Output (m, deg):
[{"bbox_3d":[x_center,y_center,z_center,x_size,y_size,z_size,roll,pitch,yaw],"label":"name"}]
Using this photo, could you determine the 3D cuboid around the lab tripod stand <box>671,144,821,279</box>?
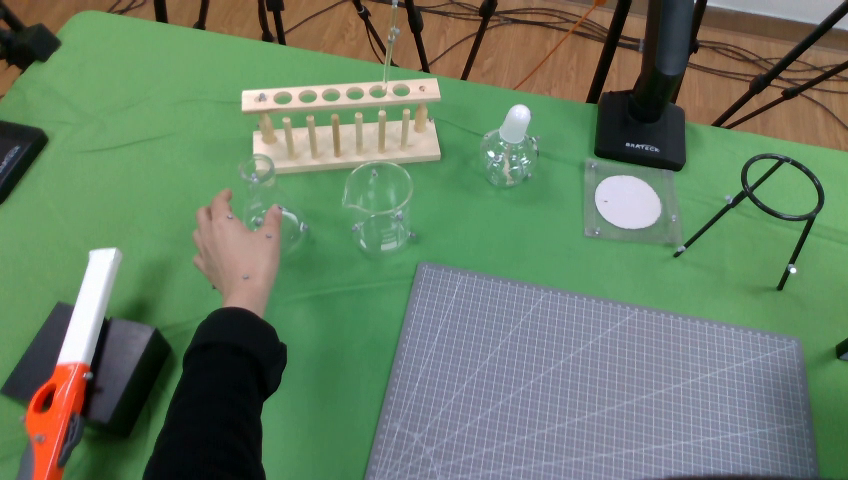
[{"bbox_3d":[0.383,-0.034,0.705,0.148,0.132,0.147,3,58,-4],"label":"lab tripod stand"}]

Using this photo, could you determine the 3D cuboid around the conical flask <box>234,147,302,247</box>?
[{"bbox_3d":[-0.184,-0.052,0.687,0.075,0.123,0.074,2,58,-2],"label":"conical flask"}]

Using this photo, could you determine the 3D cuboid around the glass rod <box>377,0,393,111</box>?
[{"bbox_3d":[-0.049,-0.208,0.734,0.008,0.201,0.008,4,58,-6],"label":"glass rod"}]

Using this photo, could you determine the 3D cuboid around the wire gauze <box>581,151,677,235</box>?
[{"bbox_3d":[0.264,-0.062,0.788,0.121,0.011,0.124,8,58,0],"label":"wire gauze"}]

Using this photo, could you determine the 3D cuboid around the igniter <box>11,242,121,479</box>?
[{"bbox_3d":[-0.338,0.123,0.573,0.057,0.025,0.274,-5,58,6],"label":"igniter"}]

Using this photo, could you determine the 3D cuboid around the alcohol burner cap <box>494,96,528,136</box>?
[{"bbox_3d":[0.107,-0.152,0.729,0.034,0.048,0.033,6,60,-10],"label":"alcohol burner cap"}]

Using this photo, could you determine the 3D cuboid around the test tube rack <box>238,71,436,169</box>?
[{"bbox_3d":[-0.106,-0.153,0.776,0.243,0.086,0.066,-6,59,-7],"label":"test tube rack"}]

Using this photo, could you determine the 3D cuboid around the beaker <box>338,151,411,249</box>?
[{"bbox_3d":[-0.057,-0.040,0.702,0.084,0.101,0.073,-26,63,-17],"label":"beaker"}]

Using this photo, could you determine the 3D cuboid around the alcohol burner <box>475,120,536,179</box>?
[{"bbox_3d":[0.105,-0.132,0.760,0.078,0.120,0.077,2,57,-3],"label":"alcohol burner"}]
